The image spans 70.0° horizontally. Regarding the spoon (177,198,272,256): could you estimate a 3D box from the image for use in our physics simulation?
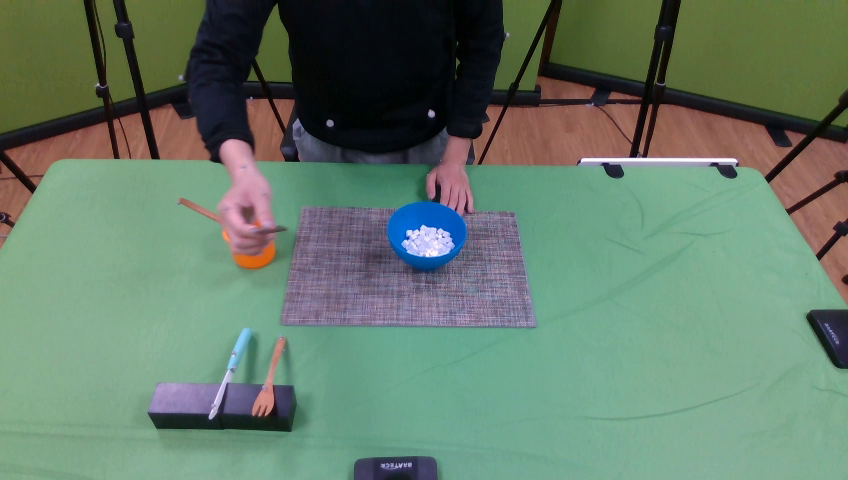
[{"bbox_3d":[-0.361,-0.025,1.107,0.021,0.195,0.041,-31,37,29],"label":"spoon"}]

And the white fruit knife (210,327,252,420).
[{"bbox_3d":[-0.298,0.200,0.937,0.016,0.027,0.206,-1,30,0],"label":"white fruit knife"}]

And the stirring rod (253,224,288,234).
[{"bbox_3d":[-0.210,-0.016,0.841,0.014,0.176,0.006,19,92,-3],"label":"stirring rod"}]

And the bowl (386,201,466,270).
[{"bbox_3d":[0.002,0.004,1.150,0.151,0.077,0.150,2,46,-2],"label":"bowl"}]

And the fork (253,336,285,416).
[{"bbox_3d":[-0.235,0.206,0.938,0.028,0.019,0.206,-2,26,-3],"label":"fork"}]
